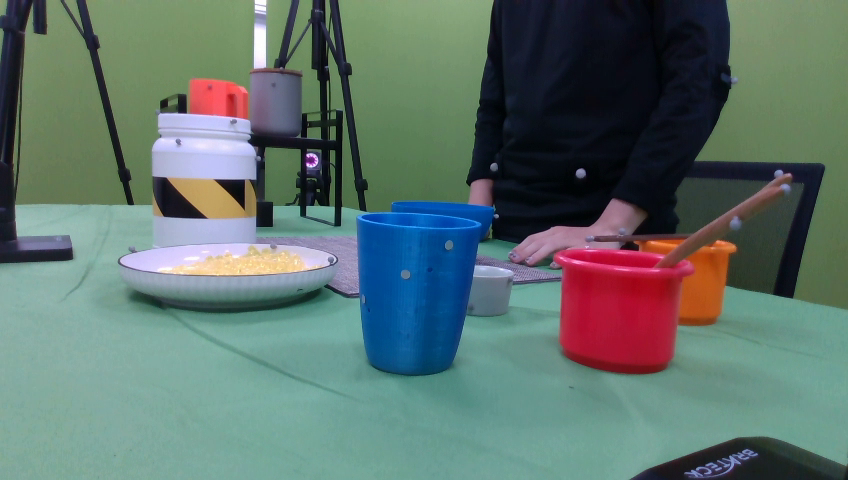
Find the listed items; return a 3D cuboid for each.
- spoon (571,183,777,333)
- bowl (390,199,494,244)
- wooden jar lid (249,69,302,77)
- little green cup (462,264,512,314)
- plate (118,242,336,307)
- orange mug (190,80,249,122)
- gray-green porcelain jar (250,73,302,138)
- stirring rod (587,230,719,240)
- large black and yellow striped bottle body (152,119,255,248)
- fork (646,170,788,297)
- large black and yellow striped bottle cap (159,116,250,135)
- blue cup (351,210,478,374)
[{"bbox_3d":[0.161,0.020,0.413,0.042,0.021,0.193,1,-36,-24],"label":"spoon"},{"bbox_3d":[0.024,-0.015,0.871,0.151,0.077,0.151,3,7,0],"label":"bowl"},{"bbox_3d":[-0.309,-0.341,1.262,0.108,0.020,0.108,1,8,0],"label":"wooden jar lid"},{"bbox_3d":[0.053,0.047,0.580,0.061,0.038,0.061,3,8,0],"label":"little green cup"},{"bbox_3d":[-0.194,0.033,0.615,0.209,0.038,0.209,2,7,0],"label":"plate"},{"bbox_3d":[-0.393,-0.257,1.173,0.126,0.100,0.084,1,6,25],"label":"orange mug"},{"bbox_3d":[-0.312,-0.280,1.270,0.106,0.126,0.106,3,8,0],"label":"gray-green porcelain jar"},{"bbox_3d":[0.226,-0.005,0.587,0.177,0.006,0.014,-2,10,-29],"label":"stirring rod"},{"bbox_3d":[-0.296,-0.070,0.819,0.131,0.184,0.130,2,7,0],"label":"large black and yellow striped bottle body"},{"bbox_3d":[0.256,0.004,0.543,0.028,0.018,0.207,3,-36,-9],"label":"fork"},{"bbox_3d":[-0.292,-0.153,0.810,0.115,0.019,0.115,3,9,0],"label":"large black and yellow striped bottle cap"},{"bbox_3d":[-0.009,0.034,0.414,0.093,0.100,0.092,4,8,0],"label":"blue cup"}]
